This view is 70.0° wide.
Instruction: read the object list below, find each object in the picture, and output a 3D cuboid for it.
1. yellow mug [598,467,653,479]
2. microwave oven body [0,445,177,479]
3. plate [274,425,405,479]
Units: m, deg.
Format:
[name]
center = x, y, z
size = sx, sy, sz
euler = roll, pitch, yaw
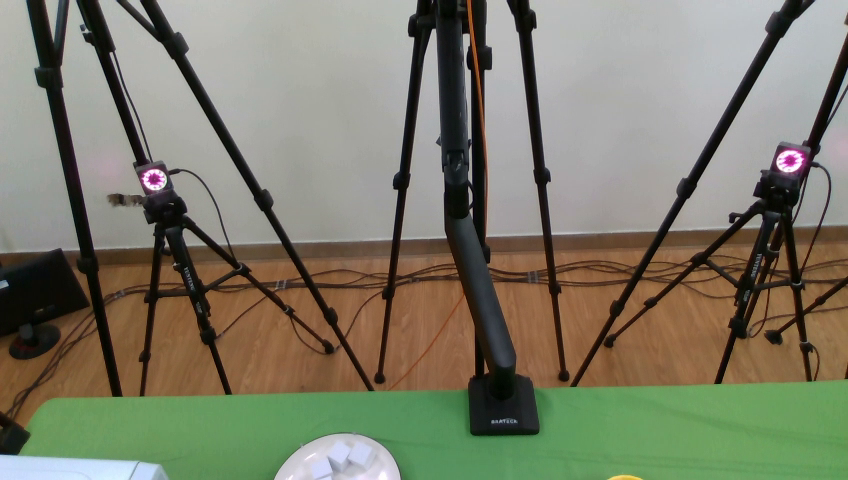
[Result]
[yellow mug]
center = 0.284, 0.396, 0.899
size = 0.130, 0.064, 0.099
euler = 5, 39, 12
[microwave oven body]
center = -0.494, 0.490, 0.674
size = 0.326, 0.262, 0.437
euler = 1, 39, 5
[plate]
center = -0.133, 0.391, 0.959
size = 0.207, 0.039, 0.205
euler = -2, 38, 2
